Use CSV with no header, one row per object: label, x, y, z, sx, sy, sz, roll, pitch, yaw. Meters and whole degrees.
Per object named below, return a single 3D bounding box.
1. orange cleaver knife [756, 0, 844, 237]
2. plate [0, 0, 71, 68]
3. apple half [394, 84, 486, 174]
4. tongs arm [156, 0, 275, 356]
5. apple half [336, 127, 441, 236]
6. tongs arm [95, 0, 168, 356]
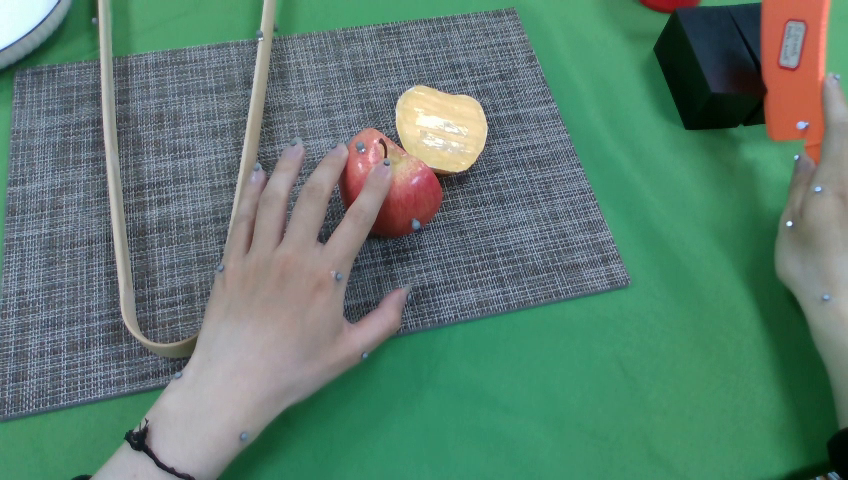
orange cleaver knife,0.296,-0.108,0.482,0.012,0.077,0.211,-9,93,-10
plate,-0.411,-0.210,0.526,0.209,0.038,0.207,2,62,-4
apple half,0.009,-0.086,0.496,0.081,0.033,0.081,4,74,-13
tongs arm,-0.157,-0.097,0.489,0.051,0.027,0.381,0,64,-5
apple half,-0.033,-0.034,0.444,0.080,0.075,0.053,37,70,10
tongs arm,-0.241,-0.089,0.480,0.028,0.028,0.384,-12,65,-15
